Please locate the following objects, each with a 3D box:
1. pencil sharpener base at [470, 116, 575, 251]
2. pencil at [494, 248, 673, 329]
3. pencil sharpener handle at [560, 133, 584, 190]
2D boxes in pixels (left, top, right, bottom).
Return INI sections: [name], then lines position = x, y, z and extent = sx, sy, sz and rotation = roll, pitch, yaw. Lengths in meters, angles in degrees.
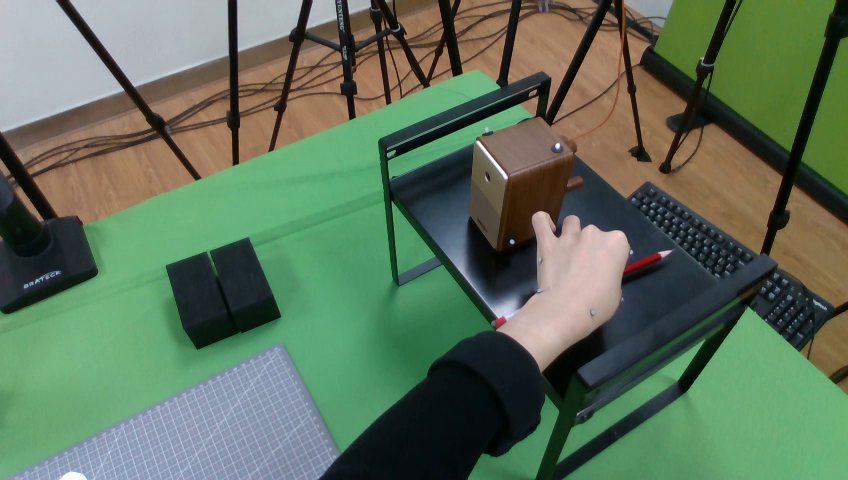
[pencil sharpener base]
position = 0.091, -0.052, 0.572
extent = 0.077, 0.108, 0.060
rotation = -21, 54, -16
[pencil]
position = 0.150, 0.041, 0.555
extent = 0.194, 0.012, 0.012
rotation = -21, 54, -15
[pencil sharpener handle]
position = 0.138, -0.076, 0.575
extent = 0.031, 0.068, 0.035
rotation = -21, 43, -16
